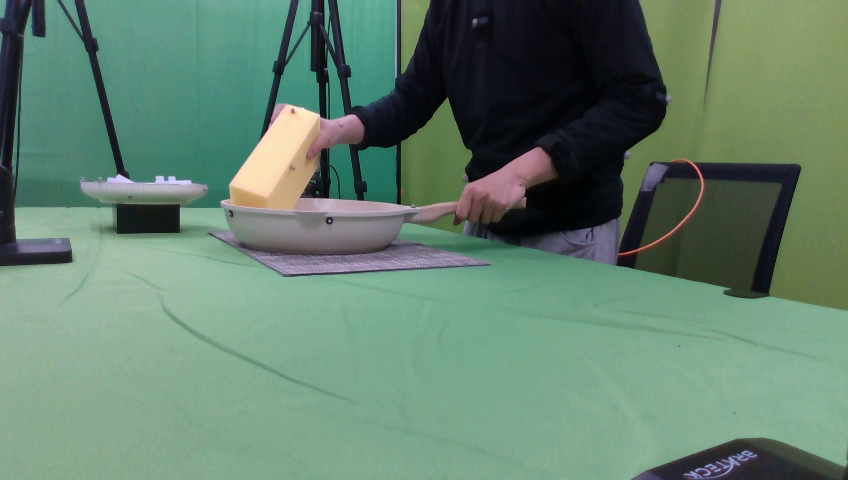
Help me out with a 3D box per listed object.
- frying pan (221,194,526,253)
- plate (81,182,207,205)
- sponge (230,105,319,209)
[{"bbox_3d":[-0.070,-0.043,0.983,0.489,0.102,0.306,-7,9,-5],"label":"frying pan"},{"bbox_3d":[-0.504,-0.086,1.100,0.208,0.039,0.207,1,6,0],"label":"plate"},{"bbox_3d":[-0.239,-0.108,0.989,0.061,0.118,0.207,17,50,2],"label":"sponge"}]
